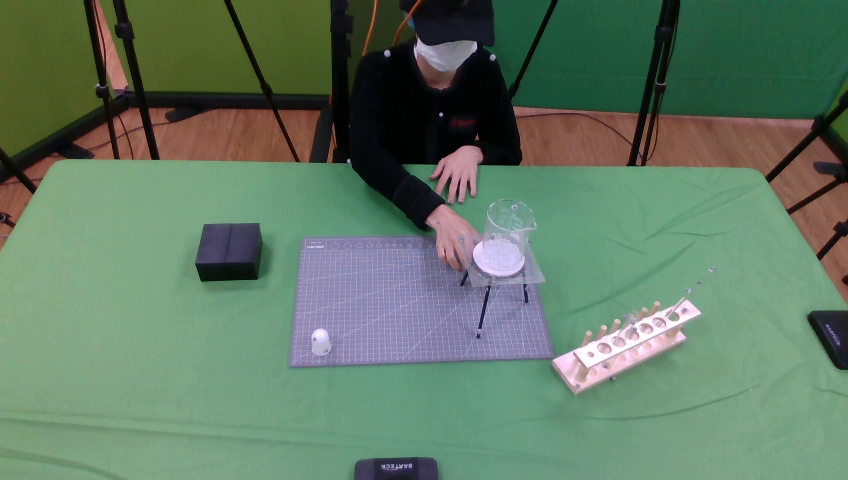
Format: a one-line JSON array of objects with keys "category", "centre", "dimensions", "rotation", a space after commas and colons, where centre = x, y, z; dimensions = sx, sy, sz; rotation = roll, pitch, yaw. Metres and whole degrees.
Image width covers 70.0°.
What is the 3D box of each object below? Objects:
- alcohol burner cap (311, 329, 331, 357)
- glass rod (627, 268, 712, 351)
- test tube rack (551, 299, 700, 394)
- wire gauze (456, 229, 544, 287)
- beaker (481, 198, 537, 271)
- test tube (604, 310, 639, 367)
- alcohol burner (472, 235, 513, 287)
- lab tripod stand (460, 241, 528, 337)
[{"category": "alcohol burner cap", "centre": [-0.173, 0.168, 1.004], "dimensions": [0.034, 0.048, 0.033], "rotation": [2, 46, -2]}, {"category": "glass rod", "centre": [0.399, 0.117, 0.995], "dimensions": [0.008, 0.200, 0.008], "rotation": [26, 29, -16]}, {"category": "test tube rack", "centre": [0.339, 0.166, 1.021], "dimensions": [0.242, 0.085, 0.066], "rotation": [-19, 50, -21]}, {"category": "wire gauze", "centre": [0.125, 0.030, 1.008], "dimensions": [0.125, 0.011, 0.120], "rotation": [-3, 48, -11]}, {"category": "beaker", "centre": [0.133, -0.005, 0.974], "dimensions": [0.084, 0.101, 0.074], "rotation": [23, 49, 16]}, {"category": "test tube", "centre": [0.310, 0.158, 0.957], "dimensions": [0.017, 0.151, 0.017], "rotation": [1, 49, -1]}, {"category": "alcohol burner", "centre": [0.127, 0.032, 1.111], "dimensions": [0.078, 0.119, 0.077], "rotation": [3, 48, -3]}, {"category": "lab tripod stand", "centre": [0.122, 0.075, 1.054], "dimensions": [0.148, 0.132, 0.147], "rotation": [3, 44, -2]}]
